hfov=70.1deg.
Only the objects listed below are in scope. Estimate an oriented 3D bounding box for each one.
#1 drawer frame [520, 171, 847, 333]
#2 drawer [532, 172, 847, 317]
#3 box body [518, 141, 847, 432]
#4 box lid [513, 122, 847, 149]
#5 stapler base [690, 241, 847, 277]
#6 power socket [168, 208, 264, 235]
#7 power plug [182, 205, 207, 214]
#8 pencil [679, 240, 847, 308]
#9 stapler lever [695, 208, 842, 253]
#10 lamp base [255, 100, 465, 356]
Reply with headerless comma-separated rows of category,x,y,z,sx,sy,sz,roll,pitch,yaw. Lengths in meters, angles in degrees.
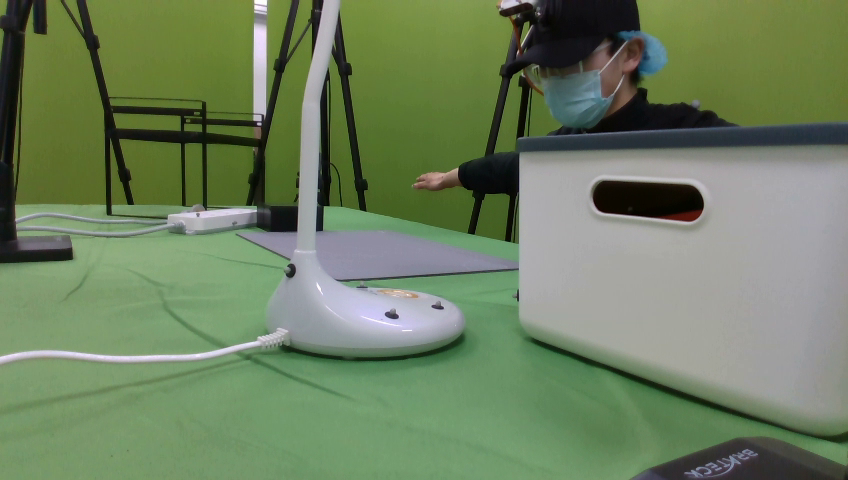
drawer frame,0.223,0.004,0.466,0.215,0.082,0.200,-11,2,-36
drawer,0.226,0.004,0.467,0.213,0.073,0.193,-12,2,-35
box body,0.278,0.005,0.486,0.366,0.160,0.253,-3,9,-36
box lid,0.282,-0.068,0.478,0.374,0.015,0.262,-3,9,-36
stapler base,0.271,0.015,0.486,0.041,0.024,0.130,-13,3,-19
power socket,-0.381,-0.038,1.129,0.072,0.032,0.227,4,8,17
power plug,-0.456,-0.041,1.195,0.052,0.035,0.072,0,39,24
pencil,0.249,0.019,0.463,0.012,0.012,0.193,1,11,-8
stapler lever,0.268,-0.009,0.484,0.027,0.040,0.117,-13,2,-19
lamp base,-0.051,-0.014,0.466,0.160,0.180,0.180,7,11,34
